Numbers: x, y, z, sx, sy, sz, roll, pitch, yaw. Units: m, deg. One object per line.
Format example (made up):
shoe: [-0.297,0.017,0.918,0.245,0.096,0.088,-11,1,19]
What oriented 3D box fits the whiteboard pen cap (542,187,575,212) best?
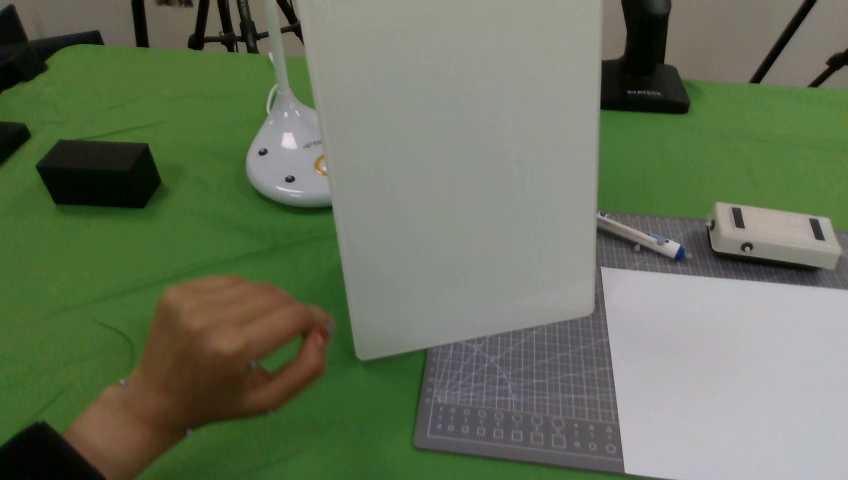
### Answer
whiteboard pen cap: [0.143,-0.042,0.641,0.033,0.018,0.018,25,48,18]

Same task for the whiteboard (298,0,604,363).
whiteboard: [0.020,-0.080,0.523,0.217,0.307,0.142,-9,24,-9]

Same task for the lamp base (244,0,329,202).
lamp base: [-0.134,-0.159,0.656,0.161,0.182,0.177,-30,49,-29]

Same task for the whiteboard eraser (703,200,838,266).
whiteboard eraser: [0.336,-0.005,0.595,0.112,0.042,0.055,8,42,8]

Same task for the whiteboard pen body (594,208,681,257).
whiteboard pen body: [0.193,-0.017,0.620,0.140,0.017,0.017,26,48,21]
